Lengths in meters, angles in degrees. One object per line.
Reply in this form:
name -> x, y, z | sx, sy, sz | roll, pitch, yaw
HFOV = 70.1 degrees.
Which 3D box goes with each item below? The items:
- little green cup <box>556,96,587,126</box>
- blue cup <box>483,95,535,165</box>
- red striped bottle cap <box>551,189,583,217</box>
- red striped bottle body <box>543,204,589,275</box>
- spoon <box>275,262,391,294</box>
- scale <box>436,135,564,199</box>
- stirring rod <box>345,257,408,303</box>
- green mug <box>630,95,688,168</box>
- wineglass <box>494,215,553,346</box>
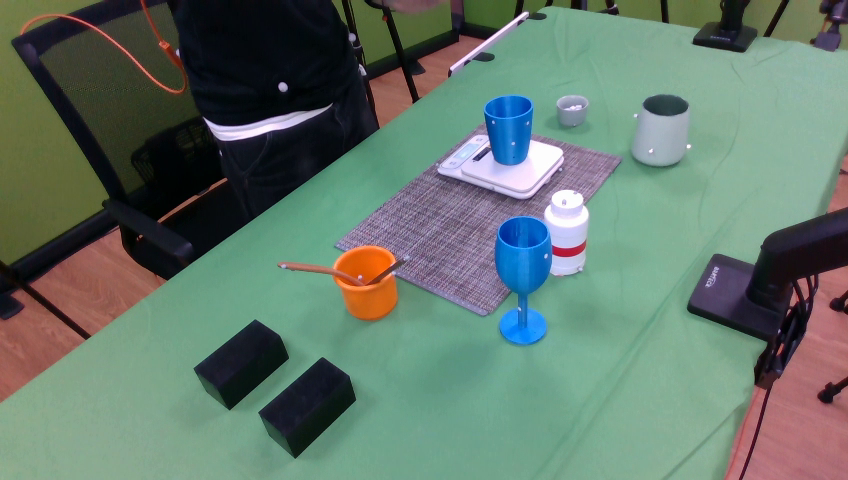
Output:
little green cup -> 0.295, -0.258, 1.214 | 0.061, 0.039, 0.061 | -4, 42, 4
blue cup -> 0.148, -0.188, 1.053 | 0.092, 0.100, 0.092 | -6, 39, 5
red striped bottle cap -> 0.200, -0.052, 0.843 | 0.044, 0.018, 0.044 | -2, 42, 2
red striped bottle body -> 0.206, -0.011, 0.877 | 0.063, 0.120, 0.062 | -5, 41, 4
spoon -> -0.120, 0.050, 0.830 | 0.041, 0.195, 0.021 | 31, 97, 45
scale -> 0.137, -0.142, 1.101 | 0.199, 0.032, 0.149 | 22, 48, 30
stirring rod -> -0.067, 0.057, 0.815 | 0.014, 0.175, 0.006 | -24, 82, -38
green mug -> 0.421, -0.201, 1.081 | 0.092, 0.105, 0.125 | 5, 42, 15
wineglass -> 0.127, 0.055, 0.770 | 0.074, 0.173, 0.073 | -4, 40, 4
